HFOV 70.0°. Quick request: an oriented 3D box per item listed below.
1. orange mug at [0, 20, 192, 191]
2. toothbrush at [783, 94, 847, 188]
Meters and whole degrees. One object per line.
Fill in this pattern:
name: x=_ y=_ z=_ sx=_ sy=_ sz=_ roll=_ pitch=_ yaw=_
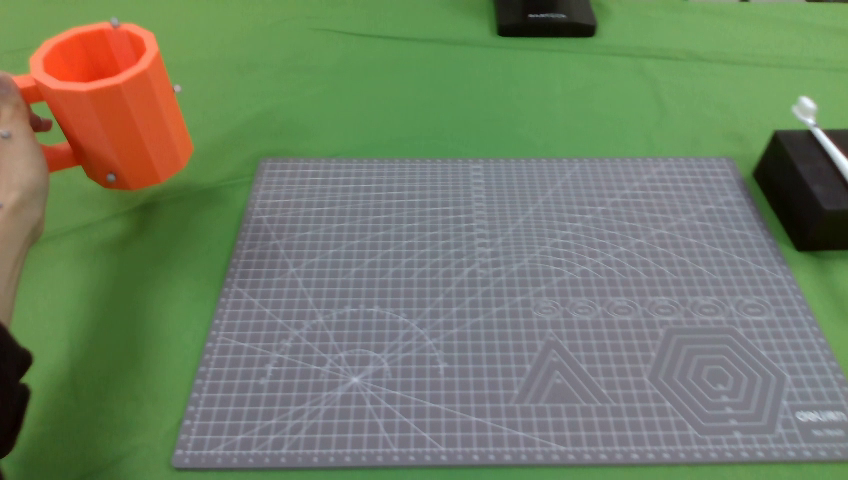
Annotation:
orange mug: x=-0.250 y=-0.096 z=0.454 sx=0.126 sy=0.101 sz=0.082 roll=-16 pitch=52 yaw=-21
toothbrush: x=0.339 y=-0.062 z=0.490 sx=0.014 sy=0.017 sz=0.180 roll=0 pitch=48 yaw=-5
